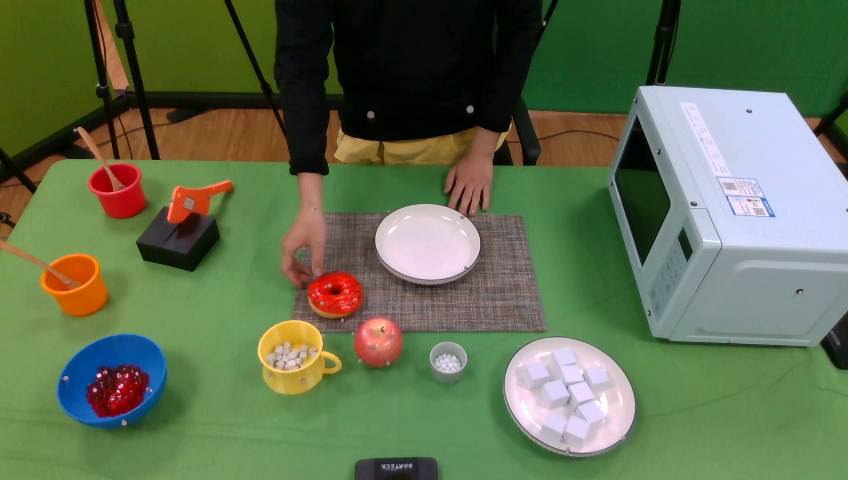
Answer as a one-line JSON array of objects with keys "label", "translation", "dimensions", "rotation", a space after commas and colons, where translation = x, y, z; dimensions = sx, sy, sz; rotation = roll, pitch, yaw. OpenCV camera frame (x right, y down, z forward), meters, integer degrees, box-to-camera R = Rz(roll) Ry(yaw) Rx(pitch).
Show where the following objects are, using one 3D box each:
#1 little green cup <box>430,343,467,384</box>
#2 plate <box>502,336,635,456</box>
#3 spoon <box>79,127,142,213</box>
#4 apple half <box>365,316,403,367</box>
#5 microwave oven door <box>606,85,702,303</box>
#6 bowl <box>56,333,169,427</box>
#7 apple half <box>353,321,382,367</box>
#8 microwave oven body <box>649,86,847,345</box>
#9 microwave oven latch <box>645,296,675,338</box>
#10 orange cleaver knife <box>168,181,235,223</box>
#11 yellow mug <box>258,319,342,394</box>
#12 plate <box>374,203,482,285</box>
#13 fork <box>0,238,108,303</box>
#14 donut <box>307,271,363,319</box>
[{"label": "little green cup", "translation": [0.039, 0.203, 0.994], "dimensions": [0.061, 0.039, 0.061], "rotation": [2, 46, -2]}, {"label": "plate", "translation": [0.225, 0.248, 0.963], "dimensions": [0.208, 0.039, 0.206], "rotation": [2, 46, -2]}, {"label": "spoon", "translation": [-0.625, -0.139, 1.203], "dimensions": [0.041, 0.021, 0.194], "rotation": [-33, 100, -26]}, {"label": "apple half", "translation": [-0.063, 0.165, 1.000], "dimensions": [0.053, 0.075, 0.080], "rotation": [-16, 45, -24]}, {"label": "microwave oven door", "translation": [0.423, -0.094, 1.140], "dimensions": [0.039, 0.245, 0.353], "rotation": [2, 46, -1]}, {"label": "bowl", "translation": [-0.456, 0.222, 0.912], "dimensions": [0.151, 0.077, 0.150], "rotation": [3, 46, -2]}, {"label": "apple half", "translation": [-0.098, 0.177, 0.984], "dimensions": [0.033, 0.081, 0.081], "rotation": [-17, 49, -25]}, {"label": "microwave oven body", "translation": [0.567, -0.053, 1.118], "dimensions": [0.326, 0.261, 0.439], "rotation": [2, 45, -1]}, {"label": "microwave oven latch", "translation": [0.412, 0.134, 1.061], "dimensions": [0.030, 0.029, 0.078], "rotation": [3, 45, 0]}, {"label": "orange cleaver knife", "translation": [-0.436, -0.078, 1.196], "dimensions": [0.012, 0.077, 0.211], "rotation": [16, 15, 10]}, {"label": "yellow mug", "translation": [-0.196, 0.189, 0.972], "dimensions": [0.131, 0.064, 0.099], "rotation": [9, 46, 4]}, {"label": "plate", "translation": [0.007, 0.011, 1.172], "dimensions": [0.209, 0.038, 0.208], "rotation": [2, 46, -2]}, {"label": "fork", "translation": [-0.633, 0.048, 1.017], "dimensions": [0.208, 0.018, 0.028], "rotation": [40, 41, -27]}, {"label": "donut", "translation": [-0.157, 0.097, 1.073], "dimensions": [0.099, 0.048, 0.098], "rotation": [3, 44, -3]}]
